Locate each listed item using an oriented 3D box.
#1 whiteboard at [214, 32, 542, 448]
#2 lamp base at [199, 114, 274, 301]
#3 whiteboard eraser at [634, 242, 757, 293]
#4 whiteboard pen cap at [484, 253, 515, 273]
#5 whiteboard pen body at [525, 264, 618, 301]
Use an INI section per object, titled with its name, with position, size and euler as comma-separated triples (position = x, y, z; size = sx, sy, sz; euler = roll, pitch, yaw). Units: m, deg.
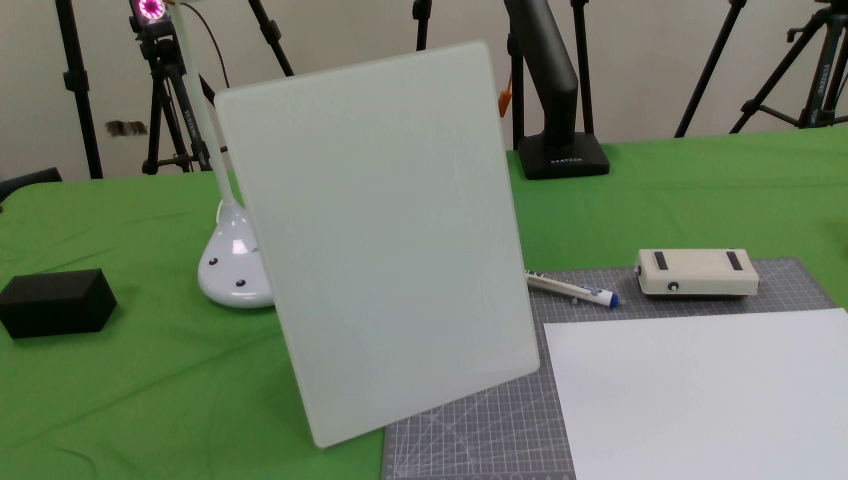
[whiteboard]
position = -0.038, -0.009, 0.562
size = 0.217, 0.307, 0.143
euler = -16, 17, -13
[lamp base]
position = -0.206, -0.047, 0.697
size = 0.177, 0.182, 0.160
euler = 23, 44, 37
[whiteboard eraser]
position = 0.282, 0.030, 0.637
size = 0.112, 0.042, 0.055
euler = -1, 34, 7
[whiteboard pen cap]
position = 0.086, 0.027, 0.679
size = 0.033, 0.018, 0.018
euler = 15, 40, 19
[whiteboard pen body]
position = 0.139, 0.042, 0.657
size = 0.140, 0.017, 0.017
euler = 15, 40, 21
